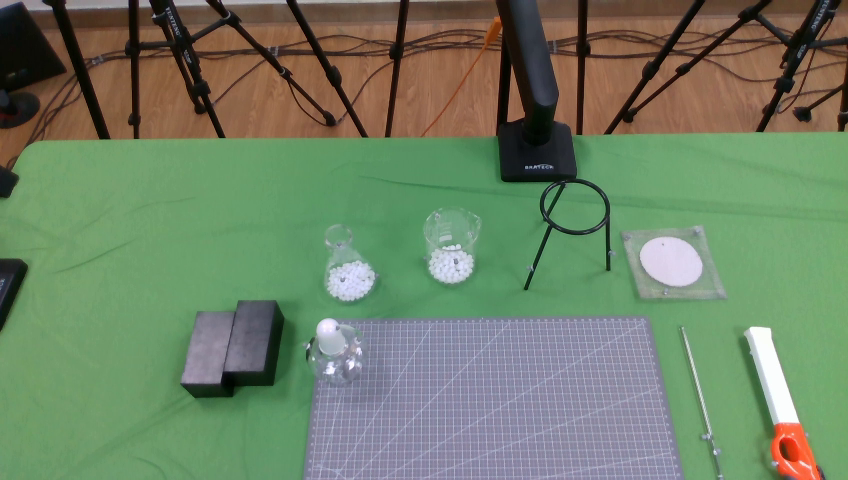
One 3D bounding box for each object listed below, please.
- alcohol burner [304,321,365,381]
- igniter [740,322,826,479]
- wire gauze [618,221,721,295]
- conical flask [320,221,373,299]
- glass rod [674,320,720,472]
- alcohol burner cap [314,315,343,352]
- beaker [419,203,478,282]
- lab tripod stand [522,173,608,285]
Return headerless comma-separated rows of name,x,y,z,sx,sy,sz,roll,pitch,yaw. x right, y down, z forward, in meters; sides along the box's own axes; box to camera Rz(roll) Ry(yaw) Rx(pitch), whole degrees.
alcohol burner,-0.115,0.130,0.755,0.078,0.120,0.077,-2,58,3
igniter,0.436,0.227,0.731,0.057,0.025,0.274,5,57,-8
wire gauze,0.353,0.026,0.876,0.125,0.011,0.120,-1,57,-1
conical flask,-0.112,0.023,0.823,0.075,0.123,0.074,-1,57,2
glass rod,0.345,0.191,0.768,0.008,0.008,0.198,-2,57,0
alcohol burner cap,-0.116,0.109,0.726,0.034,0.048,0.033,0,51,0
beaker,0.036,0.006,0.844,0.084,0.101,0.073,-22,59,-13
lab tripod stand,0.191,-0.013,0.831,0.148,0.132,0.147,-1,59,1
